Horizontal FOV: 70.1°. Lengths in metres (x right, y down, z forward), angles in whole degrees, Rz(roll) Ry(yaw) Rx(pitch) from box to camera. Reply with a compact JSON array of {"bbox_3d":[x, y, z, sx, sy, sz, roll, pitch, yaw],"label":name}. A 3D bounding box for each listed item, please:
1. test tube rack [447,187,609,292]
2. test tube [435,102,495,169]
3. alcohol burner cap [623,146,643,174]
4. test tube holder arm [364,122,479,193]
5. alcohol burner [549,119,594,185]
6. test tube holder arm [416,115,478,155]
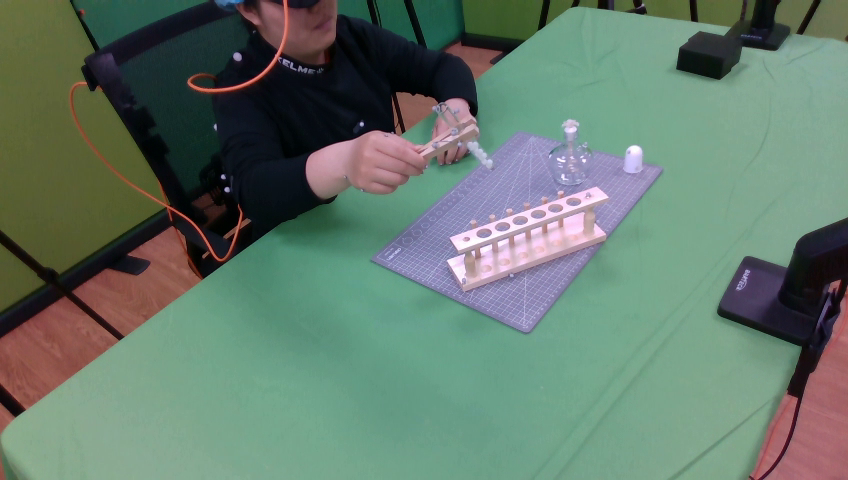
[{"bbox_3d":[0.155,-0.011,0.913,0.243,0.085,0.066,-19,41,-12],"label":"test tube rack"},{"bbox_3d":[0.055,-0.127,0.760,0.017,0.151,0.017,-13,63,26],"label":"test tube"},{"bbox_3d":[0.369,-0.143,1.061,0.034,0.048,0.033,-7,41,6],"label":"alcohol burner cap"},{"bbox_3d":[-0.007,-0.103,0.775,0.177,0.015,0.013,-27,50,27],"label":"test tube holder arm"},{"bbox_3d":[0.254,-0.155,1.043,0.078,0.120,0.077,-7,40,6],"label":"alcohol burner"},{"bbox_3d":[0.028,-0.127,0.758,0.087,0.015,0.010,-32,48,23],"label":"test tube holder arm"}]
